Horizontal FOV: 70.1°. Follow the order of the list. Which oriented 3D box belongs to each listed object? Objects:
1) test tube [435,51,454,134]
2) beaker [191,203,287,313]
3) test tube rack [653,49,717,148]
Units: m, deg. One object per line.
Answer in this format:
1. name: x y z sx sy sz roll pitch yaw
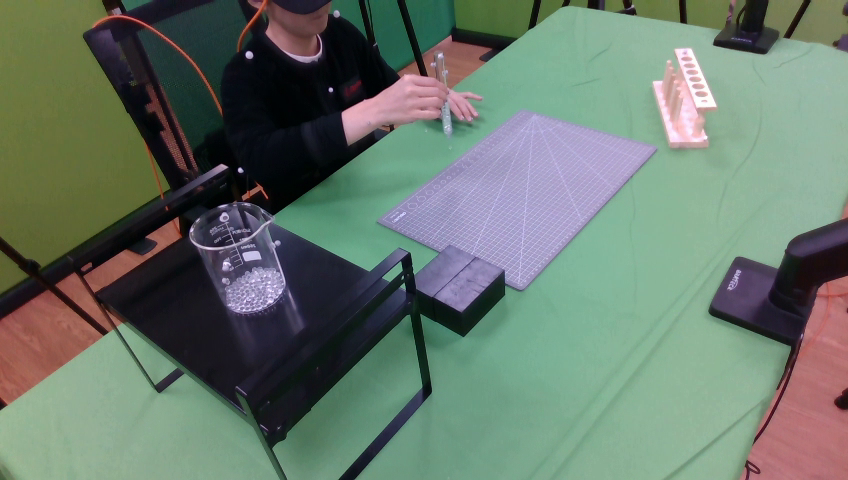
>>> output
1. test tube: 0.036 -0.248 1.030 0.017 0.151 0.017 -7 38 6
2. beaker: -0.189 0.021 0.642 0.084 0.101 0.073 -16 41 -11
3. test tube rack: 0.502 -0.281 1.177 0.066 0.085 0.241 1 41 10
